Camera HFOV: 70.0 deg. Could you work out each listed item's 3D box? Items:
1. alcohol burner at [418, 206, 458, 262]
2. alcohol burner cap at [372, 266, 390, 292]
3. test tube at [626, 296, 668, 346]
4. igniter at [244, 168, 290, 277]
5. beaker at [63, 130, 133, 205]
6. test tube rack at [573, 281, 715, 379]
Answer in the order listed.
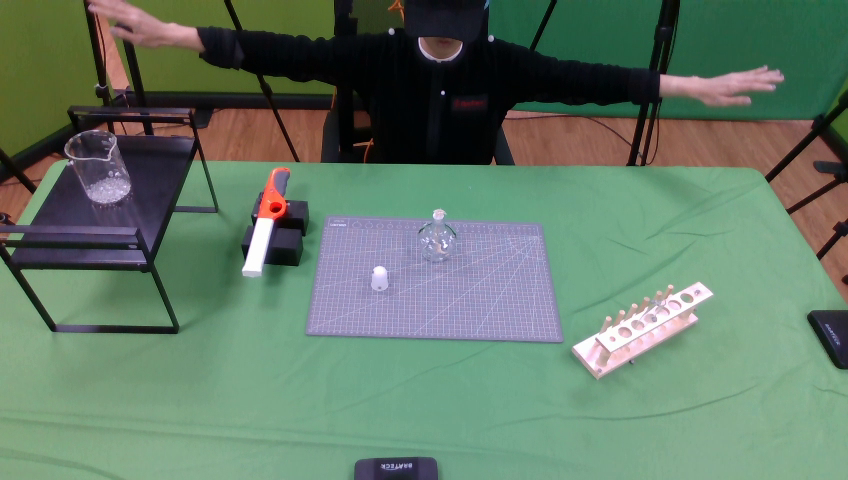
[{"bbox_3d":[0.027,-0.016,1.144,0.078,0.120,0.077,0,45,0],"label":"alcohol burner"},{"bbox_3d":[-0.080,0.069,1.105,0.034,0.048,0.033,0,46,0],"label":"alcohol burner cap"},{"bbox_3d":[0.352,0.133,0.970,0.017,0.151,0.017,3,54,-4],"label":"test tube"},{"bbox_3d":[-0.295,-0.043,1.147,0.057,0.025,0.275,5,48,-3],"label":"igniter"},{"bbox_3d":[-0.511,-0.112,0.964,0.083,0.101,0.074,31,52,23],"label":"beaker"},{"bbox_3d":[0.378,0.140,1.038,0.242,0.085,0.066,-22,51,-23],"label":"test tube rack"}]
